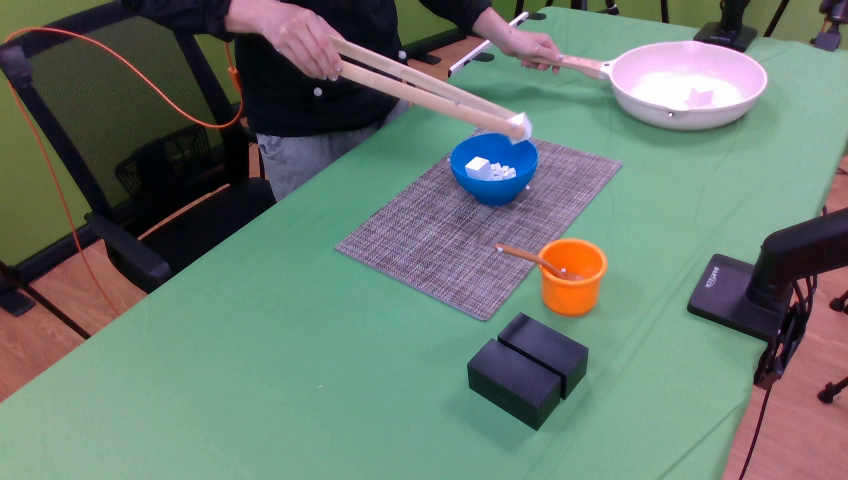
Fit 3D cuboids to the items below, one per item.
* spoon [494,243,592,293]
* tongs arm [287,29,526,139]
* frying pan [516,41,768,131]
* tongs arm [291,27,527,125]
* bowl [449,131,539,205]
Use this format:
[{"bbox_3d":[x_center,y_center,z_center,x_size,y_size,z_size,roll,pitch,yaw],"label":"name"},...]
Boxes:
[{"bbox_3d":[0.161,0.034,0.808,0.021,0.195,0.041,-48,40,20],"label":"spoon"},{"bbox_3d":[-0.025,-0.238,0.932,0.386,0.026,0.050,16,48,-9],"label":"tongs arm"},{"bbox_3d":[0.424,-0.338,1.236,0.486,0.103,0.307,18,45,15],"label":"frying pan"},{"bbox_3d":[-0.020,-0.255,0.948,0.388,0.028,0.028,19,51,-7],"label":"tongs arm"},{"bbox_3d":[0.120,-0.114,1.034,0.151,0.077,0.150,-4,41,4],"label":"bowl"}]
